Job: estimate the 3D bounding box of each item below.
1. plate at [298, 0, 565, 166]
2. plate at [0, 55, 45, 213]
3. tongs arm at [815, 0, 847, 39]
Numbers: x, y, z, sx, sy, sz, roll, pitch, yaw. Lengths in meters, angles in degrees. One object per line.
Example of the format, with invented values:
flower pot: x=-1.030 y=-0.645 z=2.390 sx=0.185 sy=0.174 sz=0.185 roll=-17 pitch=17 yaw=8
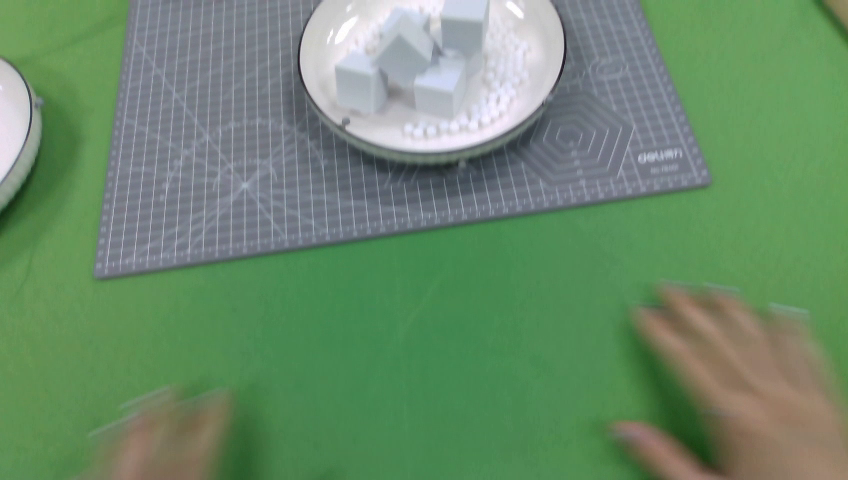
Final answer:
plate: x=0.006 y=-0.143 z=0.484 sx=0.209 sy=0.038 sz=0.207 roll=-2 pitch=63 yaw=4
plate: x=-0.398 y=-0.063 z=0.476 sx=0.207 sy=0.039 sz=0.206 roll=-2 pitch=63 yaw=4
tongs arm: x=0.359 y=-0.158 z=0.475 sx=0.028 sy=0.028 sz=0.384 roll=-17 pitch=63 yaw=-6
